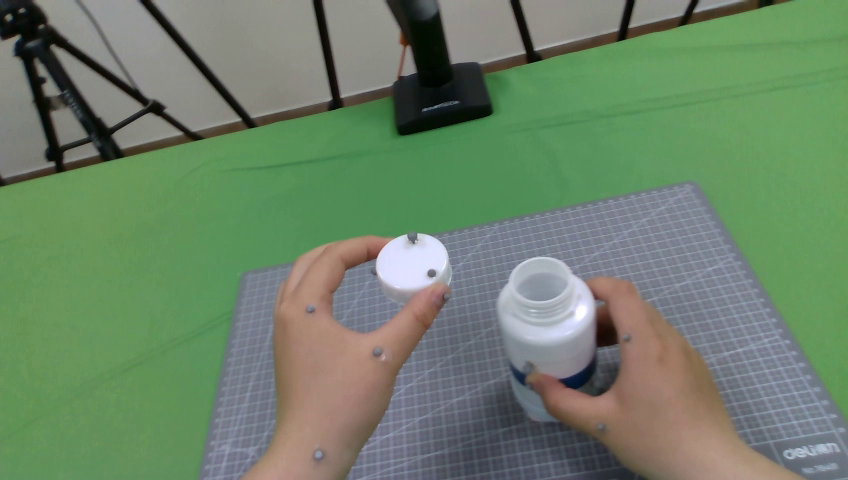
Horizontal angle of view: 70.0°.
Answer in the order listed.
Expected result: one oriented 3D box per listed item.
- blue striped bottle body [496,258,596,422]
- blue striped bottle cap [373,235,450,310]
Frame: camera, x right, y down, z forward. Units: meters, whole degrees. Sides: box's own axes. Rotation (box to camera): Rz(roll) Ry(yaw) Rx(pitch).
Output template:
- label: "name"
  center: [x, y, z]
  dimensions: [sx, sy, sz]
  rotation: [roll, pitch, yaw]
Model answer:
- label: "blue striped bottle body"
  center: [0.083, 0.066, 0.407]
  dimensions: [0.063, 0.122, 0.062]
  rotation: [-8, 44, 8]
- label: "blue striped bottle cap"
  center: [-0.007, 0.019, 0.359]
  dimensions: [0.044, 0.021, 0.044]
  rotation: [-3, 47, 4]
